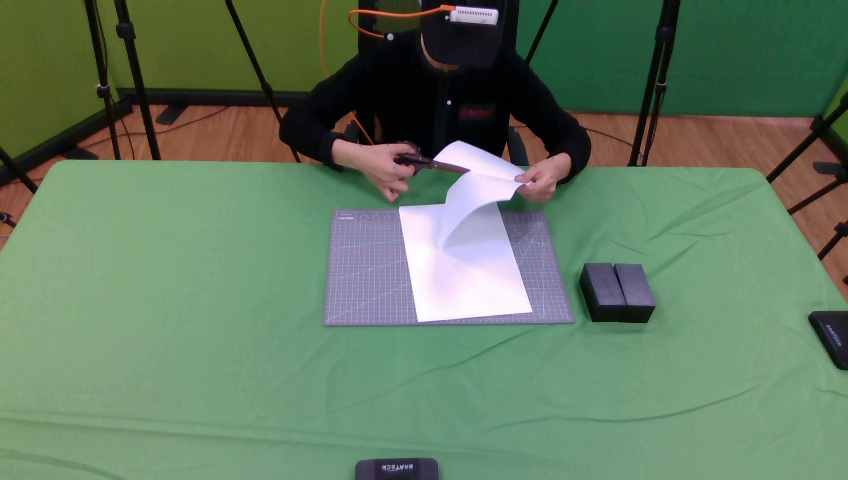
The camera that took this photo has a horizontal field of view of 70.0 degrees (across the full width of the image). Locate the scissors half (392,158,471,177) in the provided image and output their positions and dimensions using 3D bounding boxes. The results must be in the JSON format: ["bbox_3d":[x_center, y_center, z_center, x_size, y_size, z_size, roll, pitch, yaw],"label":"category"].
[{"bbox_3d":[0.014,-0.149,1.249,0.175,0.040,0.013,3,25,26],"label":"scissors half"}]

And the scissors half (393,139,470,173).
[{"bbox_3d":[0.014,-0.168,1.238,0.175,0.040,0.013,23,38,13],"label":"scissors half"}]
